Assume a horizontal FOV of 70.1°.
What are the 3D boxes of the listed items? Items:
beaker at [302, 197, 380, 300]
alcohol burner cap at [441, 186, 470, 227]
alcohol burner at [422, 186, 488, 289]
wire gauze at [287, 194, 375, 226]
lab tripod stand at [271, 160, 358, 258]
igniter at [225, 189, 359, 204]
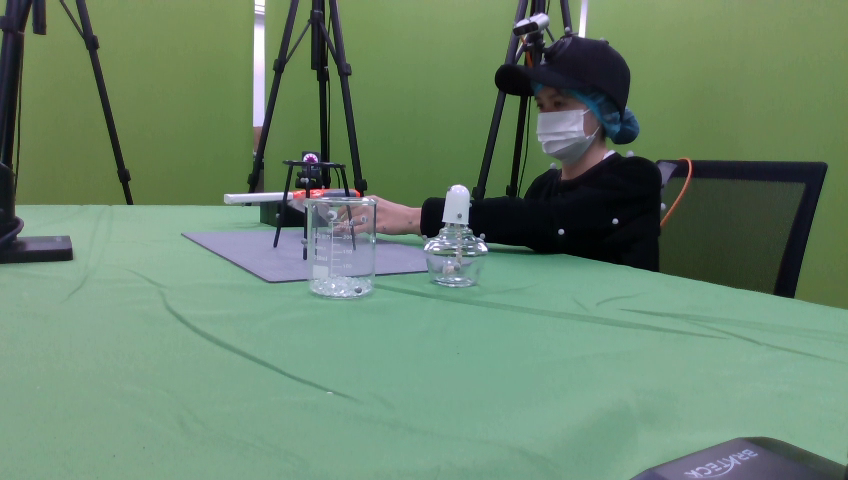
[{"bbox_3d":[-0.089,0.007,0.625,0.084,0.100,0.074,4,7,16],"label":"beaker"},{"bbox_3d":[0.038,-0.039,0.700,0.034,0.048,0.034,6,4,0],"label":"alcohol burner cap"},{"bbox_3d":[0.036,-0.004,0.706,0.078,0.119,0.078,0,7,0],"label":"alcohol burner"},{"bbox_3d":[-0.173,-0.055,1.109,0.124,0.011,0.122,2,-23,45],"label":"wire gauze"},{"bbox_3d":[-0.159,-0.048,0.876,0.148,0.131,0.148,3,5,0],"label":"lab tripod stand"},{"bbox_3d":[-0.264,-0.089,1.239,0.278,0.025,0.057,-5,12,-32],"label":"igniter"}]
